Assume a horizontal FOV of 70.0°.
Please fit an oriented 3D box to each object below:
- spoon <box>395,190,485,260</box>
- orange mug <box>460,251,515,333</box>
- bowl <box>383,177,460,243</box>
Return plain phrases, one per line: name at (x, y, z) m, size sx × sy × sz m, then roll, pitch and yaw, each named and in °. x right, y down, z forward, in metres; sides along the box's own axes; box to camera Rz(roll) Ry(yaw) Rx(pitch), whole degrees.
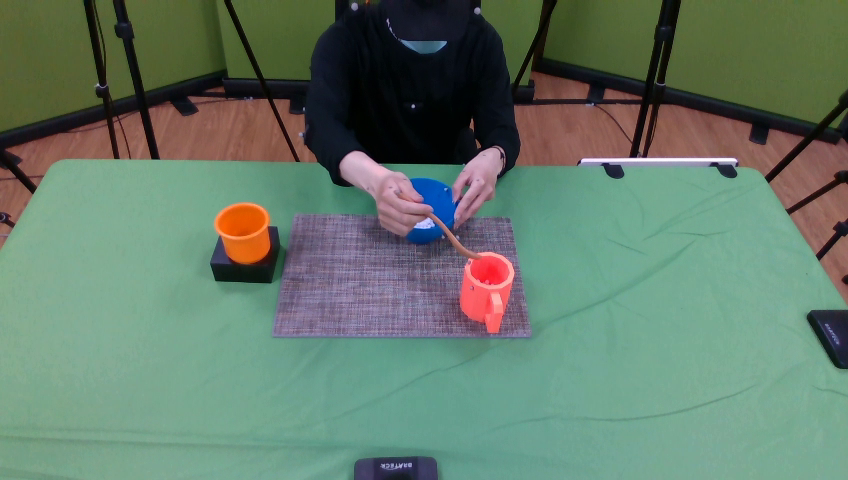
spoon at (0.027, -0.023, 0.978) m, size 0.021 × 0.194 × 0.041 m, roll -51°, pitch 22°, yaw -7°
orange mug at (0.114, 0.095, 1.053) m, size 0.083 × 0.101 × 0.125 m, roll -5°, pitch 42°, yaw -8°
bowl at (-0.006, -0.047, 1.197) m, size 0.151 × 0.077 × 0.150 m, roll 2°, pitch 46°, yaw -1°
